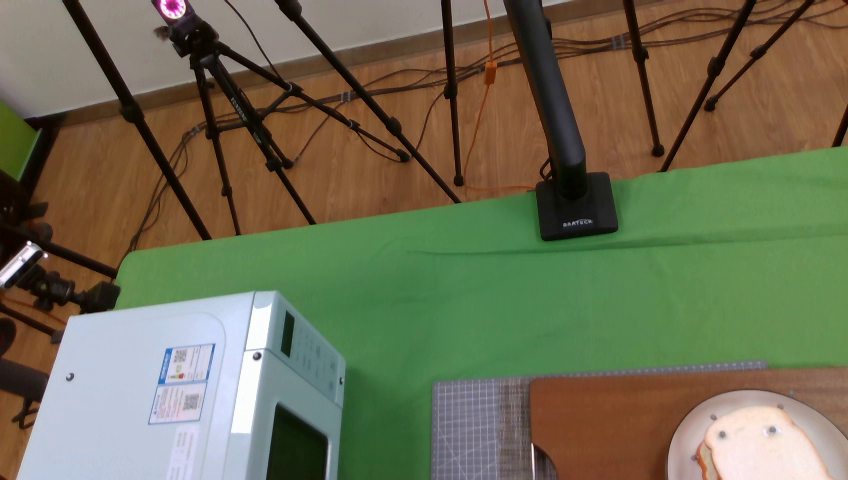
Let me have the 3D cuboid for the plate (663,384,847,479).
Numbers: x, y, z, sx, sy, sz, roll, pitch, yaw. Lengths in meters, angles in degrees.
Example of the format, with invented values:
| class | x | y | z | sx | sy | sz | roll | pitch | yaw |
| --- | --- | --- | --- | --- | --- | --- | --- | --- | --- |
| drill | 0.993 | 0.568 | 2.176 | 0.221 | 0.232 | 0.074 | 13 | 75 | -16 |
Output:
| class | x | y | z | sx | sy | sz | roll | pitch | yaw |
| --- | --- | --- | --- | --- | --- | --- | --- | --- | --- |
| plate | 0.380 | 0.269 | 0.685 | 0.207 | 0.039 | 0.205 | -8 | 57 | 13 |

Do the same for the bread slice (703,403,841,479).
| class | x | y | z | sx | sy | sz | roll | pitch | yaw |
| --- | --- | --- | --- | --- | --- | --- | --- | --- | --- |
| bread slice | 0.361 | 0.239 | 0.637 | 0.107 | 0.018 | 0.132 | -25 | 48 | 2 |

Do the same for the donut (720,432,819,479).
| class | x | y | z | sx | sy | sz | roll | pitch | yaw |
| --- | --- | --- | --- | --- | --- | --- | --- | --- | --- |
| donut | 0.373 | 0.260 | 0.656 | 0.099 | 0.049 | 0.098 | -4 | 62 | 8 |

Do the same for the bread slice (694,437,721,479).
| class | x | y | z | sx | sy | sz | roll | pitch | yaw |
| --- | --- | --- | --- | --- | --- | --- | --- | --- | --- |
| bread slice | 0.373 | 0.271 | 0.689 | 0.105 | 0.019 | 0.130 | -21 | 58 | 2 |

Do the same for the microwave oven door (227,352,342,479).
| class | x | y | z | sx | sy | sz | roll | pitch | yaw |
| --- | --- | --- | --- | --- | --- | --- | --- | --- | --- |
| microwave oven door | -0.163 | 0.338 | 0.701 | 0.039 | 0.246 | 0.352 | -9 | 57 | 12 |

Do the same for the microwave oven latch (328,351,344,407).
| class | x | y | z | sx | sy | sz | roll | pitch | yaw |
| --- | --- | --- | --- | --- | --- | --- | --- | --- | --- |
| microwave oven latch | -0.136 | 0.207 | 0.899 | 0.030 | 0.030 | 0.078 | -8 | 58 | 12 |

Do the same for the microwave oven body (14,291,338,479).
| class | x | y | z | sx | sy | sz | roll | pitch | yaw |
| --- | --- | --- | --- | --- | --- | --- | --- | --- | --- |
| microwave oven body | -0.304 | 0.327 | 0.758 | 0.325 | 0.263 | 0.437 | -8 | 58 | 12 |
